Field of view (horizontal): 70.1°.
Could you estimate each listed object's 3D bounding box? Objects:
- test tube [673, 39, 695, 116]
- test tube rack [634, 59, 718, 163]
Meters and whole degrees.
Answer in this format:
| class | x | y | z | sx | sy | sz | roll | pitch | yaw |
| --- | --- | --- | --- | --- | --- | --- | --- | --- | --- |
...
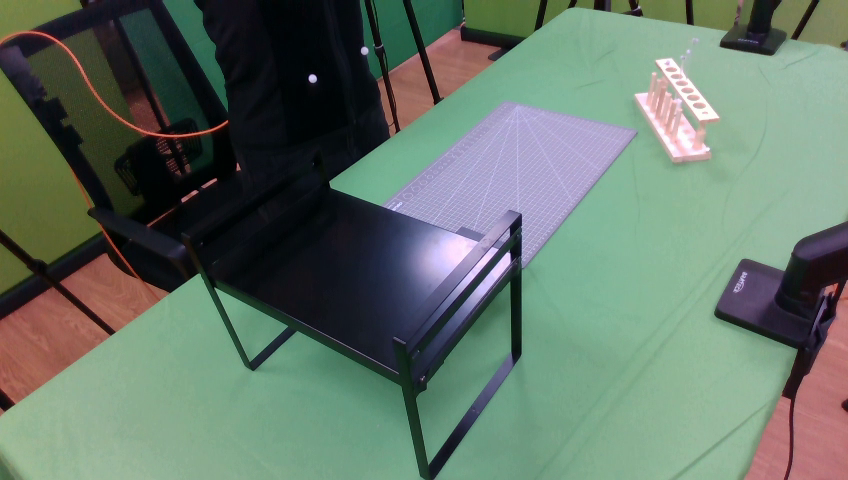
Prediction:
| class | x | y | z | sx | sy | sz | roll | pitch | yaw |
| --- | --- | --- | --- | --- | --- | --- | --- | --- | --- |
| test tube | 0.482 | -0.300 | 1.128 | 0.017 | 0.151 | 0.017 | -2 | 39 | 2 |
| test tube rack | 0.470 | -0.250 | 1.148 | 0.067 | 0.085 | 0.241 | -6 | 40 | 3 |
